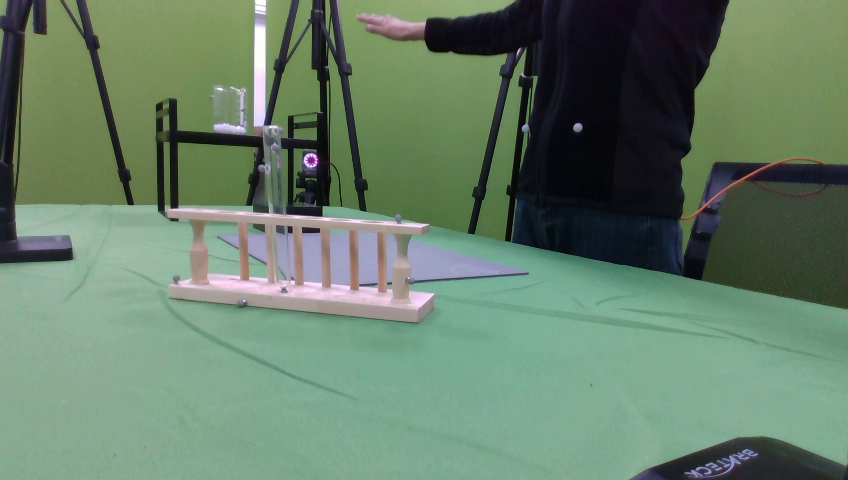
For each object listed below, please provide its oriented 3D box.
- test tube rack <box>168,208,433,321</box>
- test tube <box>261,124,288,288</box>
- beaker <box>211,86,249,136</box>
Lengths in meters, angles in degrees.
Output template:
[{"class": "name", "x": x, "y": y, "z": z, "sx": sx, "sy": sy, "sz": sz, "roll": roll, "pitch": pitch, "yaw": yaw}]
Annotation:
[{"class": "test tube rack", "x": -0.115, "y": 0.017, "z": 0.574, "sx": 0.242, "sy": 0.085, "sz": 0.067, "roll": 4, "pitch": 8, "yaw": 13}, {"class": "test tube", "x": -0.137, "y": -0.030, "z": 0.555, "sx": 0.017, "sy": 0.150, "sz": 0.017, "roll": -2, "pitch": 9, "yaw": 1}, {"class": "beaker", "x": -0.413, "y": -0.274, "z": 1.297, "sx": 0.074, "sy": 0.100, "sz": 0.083, "roll": -5, "pitch": 11, "yaw": -44}]
